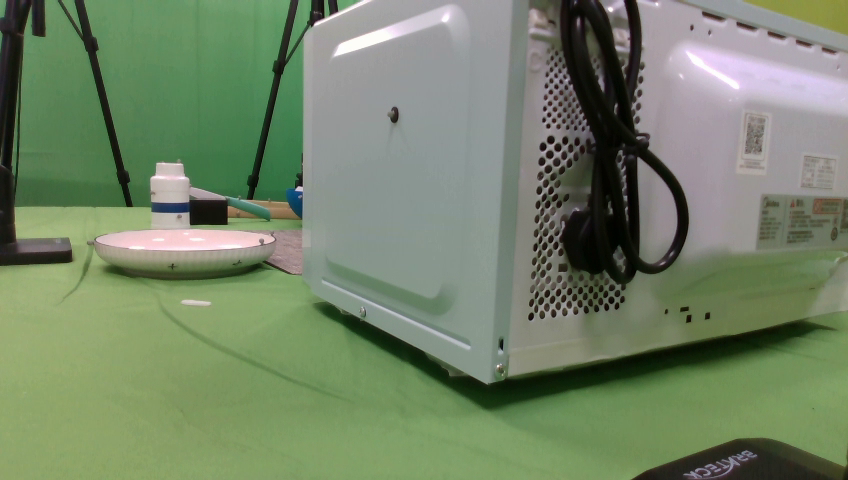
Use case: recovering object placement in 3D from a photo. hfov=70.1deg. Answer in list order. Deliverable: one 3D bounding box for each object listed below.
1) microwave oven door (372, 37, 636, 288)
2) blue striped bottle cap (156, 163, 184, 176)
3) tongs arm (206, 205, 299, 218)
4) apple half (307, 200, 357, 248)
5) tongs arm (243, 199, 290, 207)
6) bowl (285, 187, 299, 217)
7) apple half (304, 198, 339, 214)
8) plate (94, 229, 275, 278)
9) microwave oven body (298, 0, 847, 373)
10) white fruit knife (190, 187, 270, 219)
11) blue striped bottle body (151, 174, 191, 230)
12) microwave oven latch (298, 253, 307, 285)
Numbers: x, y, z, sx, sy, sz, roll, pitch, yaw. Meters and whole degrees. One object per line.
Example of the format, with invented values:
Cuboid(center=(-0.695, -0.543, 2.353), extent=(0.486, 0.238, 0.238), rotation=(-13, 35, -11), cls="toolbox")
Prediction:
Cuboid(center=(0.110, -0.080, 0.686), extent=(0.358, 0.243, 0.039), rotation=(-2, 9, -33), cls="microwave oven door")
Cuboid(center=(-0.438, -0.121, 1.045), extent=(0.044, 0.020, 0.044), rotation=(5, 6, 0), cls="blue striped bottle cap")
Cuboid(center=(-0.302, -0.065, 1.406), extent=(0.389, 0.028, 0.028), rotation=(0, 4, -15), cls="tongs arm")
Cuboid(center=(-0.135, -0.024, 0.942), extent=(0.053, 0.074, 0.081), rotation=(13, 9, 38), cls="apple half")
Cuboid(center=(-0.309, -0.079, 1.487), extent=(0.385, 0.026, 0.050), rotation=(3, 7, -2), cls="tongs arm")
Cuboid(center=(-0.218, -0.069, 1.274), extent=(0.151, 0.077, 0.151), rotation=(3, 8, 0), cls="bowl")
Cuboid(center=(-0.217, -0.073, 1.274), extent=(0.081, 0.033, 0.081), rotation=(2, 9, 0), cls="apple half")
Cuboid(center=(-0.291, 0.016, 0.749), extent=(0.208, 0.039, 0.207), rotation=(2, 7, 0), cls="plate")
Cuboid(center=(0.152, -0.055, 0.542), extent=(0.444, 0.260, 0.324), rotation=(-2, 7, -33), cls="microwave oven body")
Cuboid(center=(-0.413, -0.081, 1.270), extent=(0.208, 0.027, 0.016), rotation=(17, 13, -41), cls="white fruit knife")
Cuboid(center=(-0.439, -0.071, 1.052), extent=(0.063, 0.120, 0.063), rotation=(2, 8, 0), cls="blue striped bottle body")
Cuboid(center=(-0.081, 0.027, 0.582), extent=(0.079, 0.029, 0.030), rotation=(-1, 7, -32), cls="microwave oven latch")
